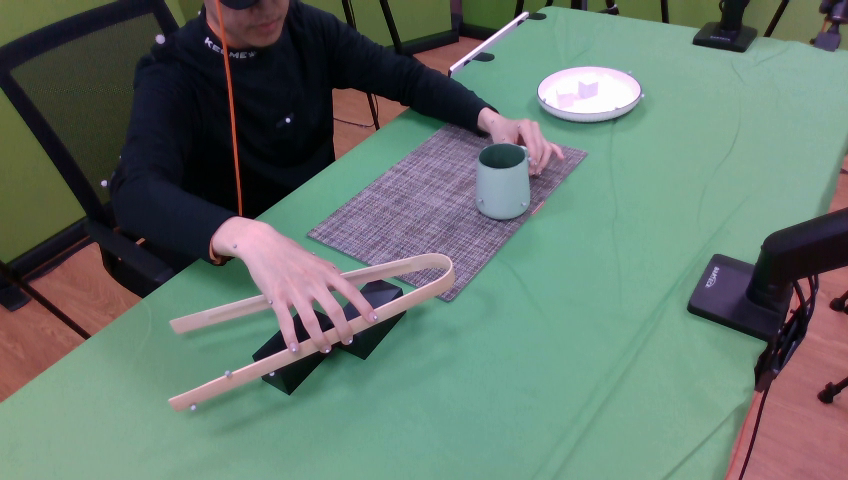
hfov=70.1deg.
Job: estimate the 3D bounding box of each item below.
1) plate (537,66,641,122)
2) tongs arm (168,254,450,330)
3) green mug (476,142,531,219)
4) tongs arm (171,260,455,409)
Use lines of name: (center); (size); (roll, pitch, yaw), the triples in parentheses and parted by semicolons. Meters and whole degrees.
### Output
plate: (0.338, -0.299, 1.255); (0.209, 0.038, 0.208); (-4, 41, 4)
tongs arm: (-0.154, 0.071, 0.832); (0.388, 0.028, 0.028); (-13, 34, -5)
green mug: (0.140, -0.106, 1.002); (0.092, 0.105, 0.125); (21, 48, 30)
tongs arm: (-0.129, 0.115, 0.774); (0.386, 0.026, 0.050); (-21, 39, -14)
